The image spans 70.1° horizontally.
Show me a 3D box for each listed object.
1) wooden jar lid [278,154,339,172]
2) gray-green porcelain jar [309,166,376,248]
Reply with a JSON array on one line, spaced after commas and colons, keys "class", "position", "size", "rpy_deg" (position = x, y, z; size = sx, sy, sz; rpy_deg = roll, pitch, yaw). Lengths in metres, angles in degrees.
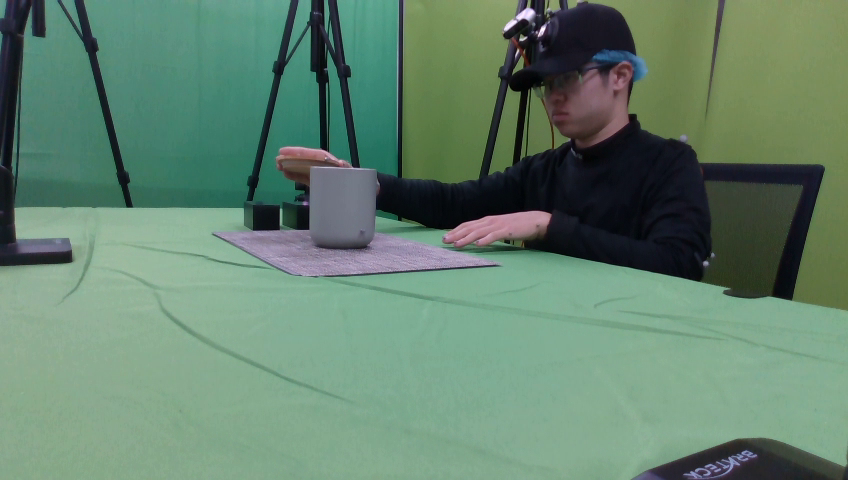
[{"class": "wooden jar lid", "position": [-0.209, -0.137, 1.093], "size": [0.108, 0.020, 0.108], "rpy_deg": [4, -2, 0]}, {"class": "gray-green porcelain jar", "position": [-0.130, -0.054, 0.966], "size": [0.106, 0.126, 0.106], "rpy_deg": [2, 7, 0]}]
